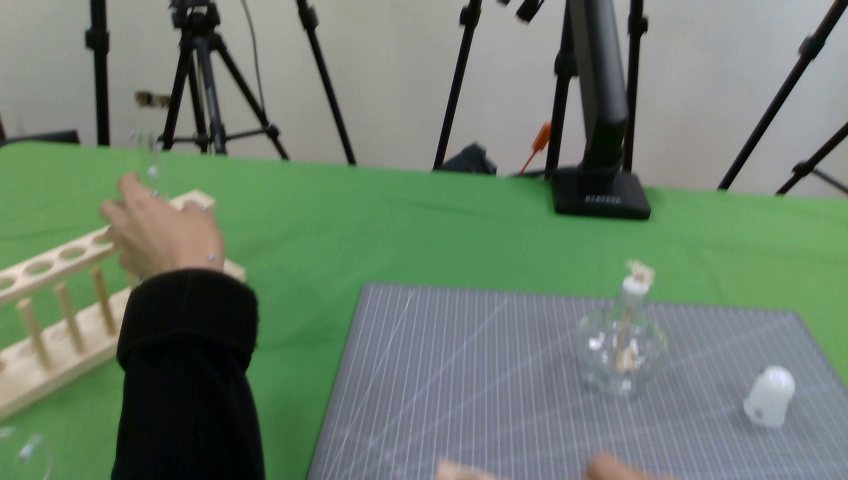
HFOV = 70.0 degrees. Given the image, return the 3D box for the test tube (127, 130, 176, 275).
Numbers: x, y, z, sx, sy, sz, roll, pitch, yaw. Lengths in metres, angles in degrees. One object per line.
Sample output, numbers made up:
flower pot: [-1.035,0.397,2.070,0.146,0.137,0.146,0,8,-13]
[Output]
test tube: [-0.261,-0.032,0.584,0.017,0.151,0.017,0,28,0]

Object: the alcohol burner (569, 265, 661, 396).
alcohol burner: [0.164,0.073,0.511,0.078,0.120,0.077,1,31,0]

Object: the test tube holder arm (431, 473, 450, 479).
test tube holder arm: [0.046,0.156,0.356,0.087,0.015,0.010,10,51,16]

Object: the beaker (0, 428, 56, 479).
beaker: [-0.248,0.172,0.350,0.084,0.101,0.073,-10,35,-17]

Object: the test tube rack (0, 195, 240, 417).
test tube rack: [-0.293,0.049,0.551,0.066,0.086,0.242,25,39,30]

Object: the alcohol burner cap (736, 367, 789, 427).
alcohol burner cap: [0.281,0.127,0.500,0.034,0.048,0.033,1,32,0]

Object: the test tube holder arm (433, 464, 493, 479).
test tube holder arm: [0.090,0.160,0.347,0.178,0.015,0.013,10,51,16]
